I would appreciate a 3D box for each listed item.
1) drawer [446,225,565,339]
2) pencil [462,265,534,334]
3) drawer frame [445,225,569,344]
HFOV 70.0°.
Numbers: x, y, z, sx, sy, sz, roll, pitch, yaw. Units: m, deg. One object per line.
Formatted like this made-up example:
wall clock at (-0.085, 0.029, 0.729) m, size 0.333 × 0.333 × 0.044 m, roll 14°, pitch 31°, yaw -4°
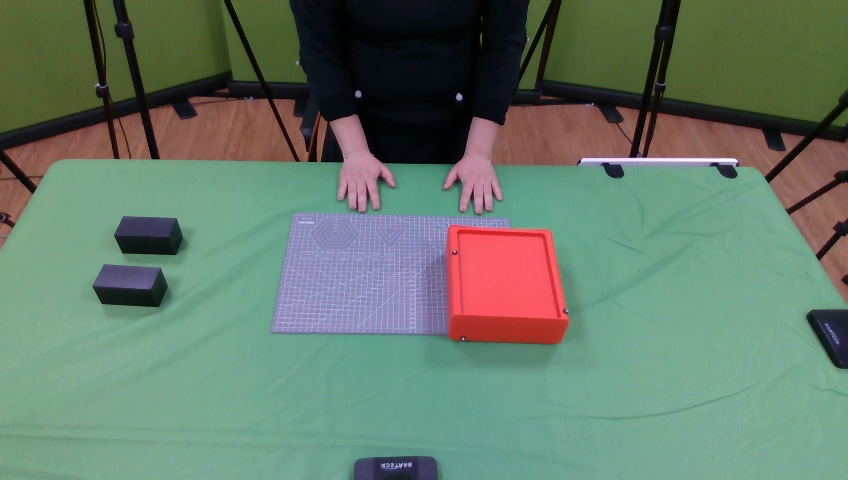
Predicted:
drawer at (0.139, 0.073, 1.094) m, size 0.194 × 0.073 × 0.210 m, roll 3°, pitch 47°, yaw -3°
pencil at (0.130, 0.104, 1.098) m, size 0.012 × 0.012 × 0.193 m, roll -26°, pitch 51°, yaw -26°
drawer frame at (0.141, 0.076, 1.089) m, size 0.202 × 0.083 × 0.212 m, roll 3°, pitch 47°, yaw -4°
